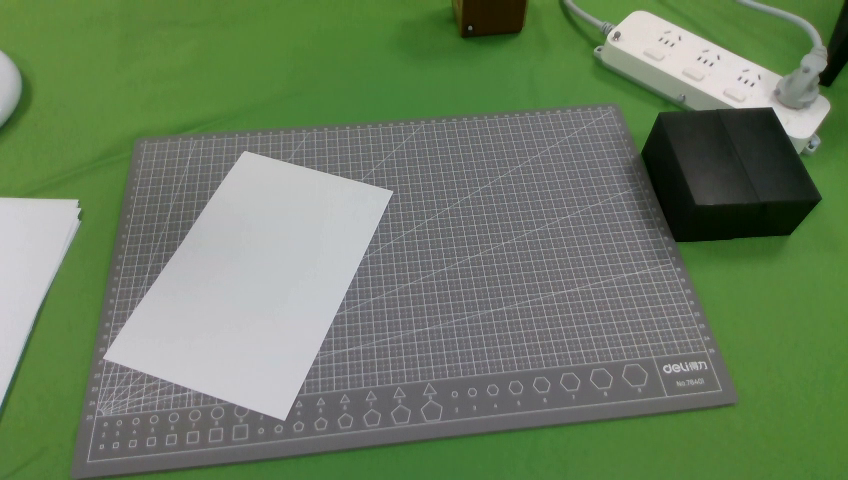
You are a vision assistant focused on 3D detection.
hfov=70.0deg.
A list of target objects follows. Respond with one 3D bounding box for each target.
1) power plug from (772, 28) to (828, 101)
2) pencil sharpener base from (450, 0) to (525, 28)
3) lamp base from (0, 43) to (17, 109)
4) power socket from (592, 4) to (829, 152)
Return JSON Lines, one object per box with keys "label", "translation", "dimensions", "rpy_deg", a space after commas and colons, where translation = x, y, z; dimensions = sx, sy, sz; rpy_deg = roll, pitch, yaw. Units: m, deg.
{"label": "power plug", "translation": [0.348, -0.151, 0.551], "dimensions": [0.072, 0.053, 0.035], "rpy_deg": [-34, 64, -20]}
{"label": "pencil sharpener base", "translation": [0.062, -0.276, 0.609], "dimensions": [0.077, 0.108, 0.061], "rpy_deg": [-8, 58, -5]}
{"label": "lamp base", "translation": [-0.468, -0.189, 0.497], "dimensions": [0.160, 0.182, 0.177], "rpy_deg": [-33, 61, -20]}
{"label": "power socket", "translation": [0.273, -0.160, 0.583], "dimensions": [0.225, 0.033, 0.072], "rpy_deg": [37, 63, 21]}
